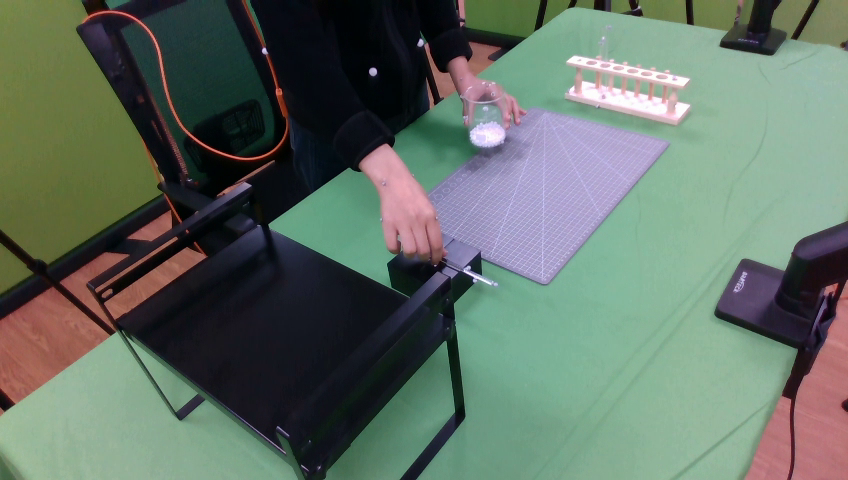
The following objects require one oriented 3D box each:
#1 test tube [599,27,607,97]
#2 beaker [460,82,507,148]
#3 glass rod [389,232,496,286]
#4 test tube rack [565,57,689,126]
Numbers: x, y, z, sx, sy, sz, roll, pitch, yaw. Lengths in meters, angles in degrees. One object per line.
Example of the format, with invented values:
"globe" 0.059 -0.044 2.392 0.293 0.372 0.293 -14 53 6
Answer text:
"test tube" 0.358 -0.353 1.210 0.017 0.151 0.017 -8 43 8
"beaker" 0.111 -0.225 1.106 0.084 0.101 0.074 1 42 12
"glass rod" 0.022 0.026 0.878 0.198 0.008 0.008 25 50 33
"test tube rack" 0.411 -0.311 1.230 0.240 0.085 0.067 24 49 32
